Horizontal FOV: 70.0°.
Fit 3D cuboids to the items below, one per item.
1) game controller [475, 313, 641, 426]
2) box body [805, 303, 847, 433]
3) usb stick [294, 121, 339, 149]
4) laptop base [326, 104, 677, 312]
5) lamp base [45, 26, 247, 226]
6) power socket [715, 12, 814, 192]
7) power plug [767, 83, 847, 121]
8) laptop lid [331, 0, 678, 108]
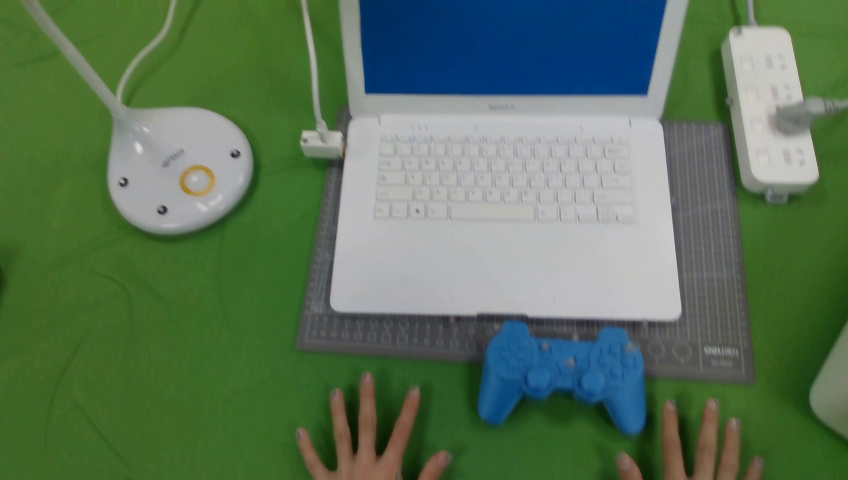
[{"bbox_3d":[0.127,0.120,0.571,0.155,0.052,0.096,4,67,4],"label":"game controller"},{"bbox_3d":[0.540,0.060,0.514,0.253,0.161,0.363,35,74,15],"label":"box body"},{"bbox_3d":[-0.112,-0.116,0.675,0.059,0.027,0.021,5,63,1],"label":"usb stick"},{"bbox_3d":[0.079,-0.039,0.650,0.354,0.023,0.234,1,73,3],"label":"laptop base"},{"bbox_3d":[-0.294,-0.124,0.613,0.178,0.181,0.160,29,72,16],"label":"lamp base"},{"bbox_3d":[0.377,-0.162,0.677,0.072,0.033,0.225,2,69,2],"label":"power socket"},{"bbox_3d":[0.404,-0.139,0.643,0.072,0.053,0.035,13,69,6],"label":"power plug"},{"bbox_3d":[0.080,-0.241,0.619,0.356,0.244,0.013,-1,38,4],"label":"laptop lid"}]
